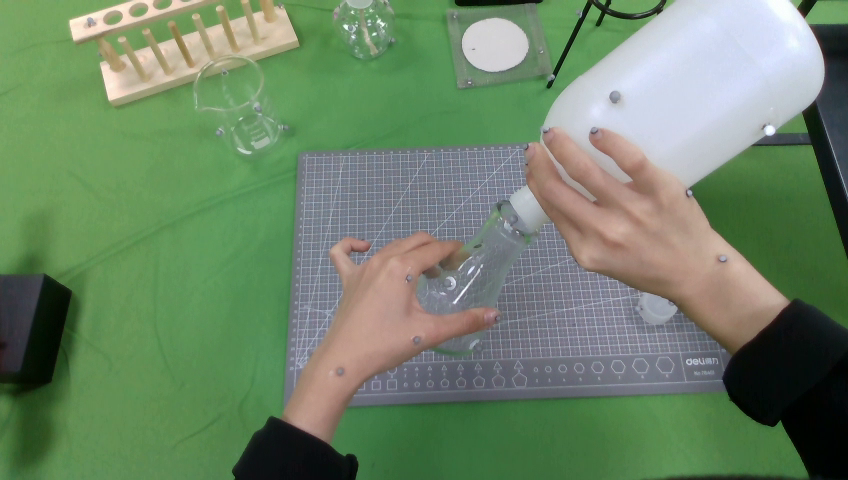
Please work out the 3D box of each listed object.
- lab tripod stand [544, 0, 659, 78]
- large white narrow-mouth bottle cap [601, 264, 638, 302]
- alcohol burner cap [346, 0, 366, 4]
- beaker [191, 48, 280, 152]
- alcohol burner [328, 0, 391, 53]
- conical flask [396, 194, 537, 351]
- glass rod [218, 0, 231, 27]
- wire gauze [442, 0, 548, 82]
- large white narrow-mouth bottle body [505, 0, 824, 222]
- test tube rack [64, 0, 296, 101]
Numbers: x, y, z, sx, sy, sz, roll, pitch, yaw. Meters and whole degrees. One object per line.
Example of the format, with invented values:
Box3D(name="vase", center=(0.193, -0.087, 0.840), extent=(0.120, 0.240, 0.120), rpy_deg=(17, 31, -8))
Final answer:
Box3D(name="lab tripod stand", center=(0.217, -0.252, 0.704), extent=(0.148, 0.132, 0.147), rpy_deg=(0, 66, -1))
Box3D(name="large white narrow-mouth bottle cap", center=(0.205, 0.046, 0.637), extent=(0.038, 0.024, 0.037), rpy_deg=(-1, 66, 3))
Box3D(name="alcohol burner cap", center=(-0.080, -0.303, 0.701), extent=(0.034, 0.048, 0.033), rpy_deg=(3, 65, -7))
Box3D(name="beaker", center=(-0.211, -0.152, 0.686), extent=(0.084, 0.101, 0.073), rpy_deg=(-42, 72, -15))
Box3D(name="alcohol burner", center=(-0.080, -0.286, 0.734), extent=(0.078, 0.120, 0.077), rpy_deg=(0, 64, 0))
Box3D(name="conical flask", center=(0.036, 0.021, 0.455), extent=(0.076, 0.122, 0.074), rpy_deg=(22, 36, -17))
Box3D(name="glass rod", center=(-0.245, -0.319, 0.693), extent=(0.008, 0.201, 0.008), rpy_deg=(2, 64, -3))
Box3D(name="wire gauze", center=(0.090, -0.261, 0.777), extent=(0.121, 0.011, 0.124), rpy_deg=(-6, 67, -3))
Box3D(name="large white narrow-mouth bottle body", center=(0.139, -0.078, 0.394), extent=(0.194, 0.102, 0.101), rpy_deg=(-37, 67, 17))
Box3D(name="test tube rack", center=(-0.290, -0.258, 0.740), extent=(0.242, 0.086, 0.066), rpy_deg=(-21, 68, -8))
